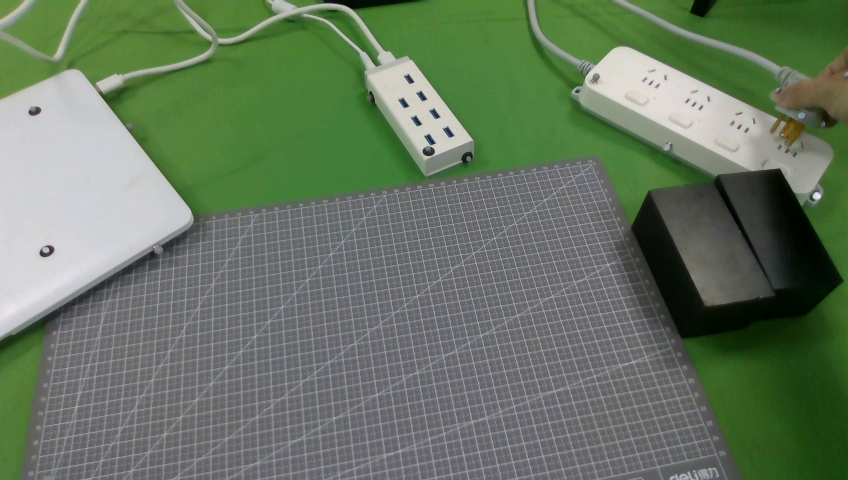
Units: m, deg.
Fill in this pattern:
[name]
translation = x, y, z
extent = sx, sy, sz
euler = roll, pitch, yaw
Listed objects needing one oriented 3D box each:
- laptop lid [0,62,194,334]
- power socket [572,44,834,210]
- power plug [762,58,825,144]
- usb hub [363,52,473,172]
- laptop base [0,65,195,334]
[laptop lid]
translation = -0.386, 0.000, 0.462
extent = 0.356, 0.013, 0.239
euler = -34, 65, -19
[power socket]
translation = 0.240, -0.104, 0.529
extent = 0.225, 0.033, 0.072
euler = 35, 63, 21
[power plug]
translation = 0.298, -0.113, 0.499
extent = 0.035, 0.053, 0.072
euler = 16, 28, -15
[usb hub]
translation = -0.008, -0.118, 0.545
extent = 0.049, 0.025, 0.124
euler = -24, 60, -14
[laptop base]
translation = -0.387, 0.006, 0.473
extent = 0.354, 0.023, 0.233
euler = -36, 66, -20
